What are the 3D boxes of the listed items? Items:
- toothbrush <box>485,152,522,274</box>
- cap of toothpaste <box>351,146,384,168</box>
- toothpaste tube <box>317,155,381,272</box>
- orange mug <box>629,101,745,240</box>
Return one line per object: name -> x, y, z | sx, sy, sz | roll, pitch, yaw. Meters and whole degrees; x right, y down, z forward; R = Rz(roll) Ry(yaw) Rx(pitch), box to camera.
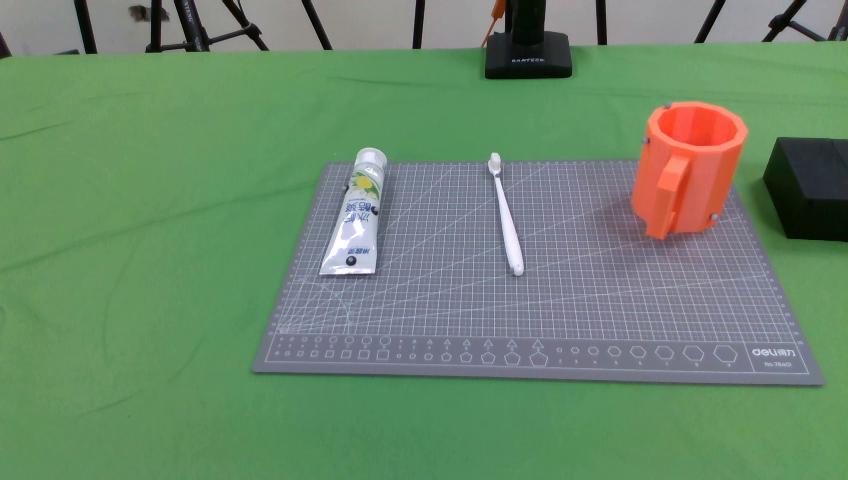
toothbrush -> 0.081, -0.033, 0.620 | 0.014, 0.017, 0.180 | 7, 43, -11
cap of toothpaste -> -0.063, -0.089, 0.676 | 0.037, 0.038, 0.011 | 0, 47, 5
toothpaste tube -> -0.071, -0.031, 0.624 | 0.055, 0.035, 0.163 | -4, 46, 10
orange mug -> 0.241, -0.061, 0.575 | 0.083, 0.102, 0.126 | 21, 44, 26
